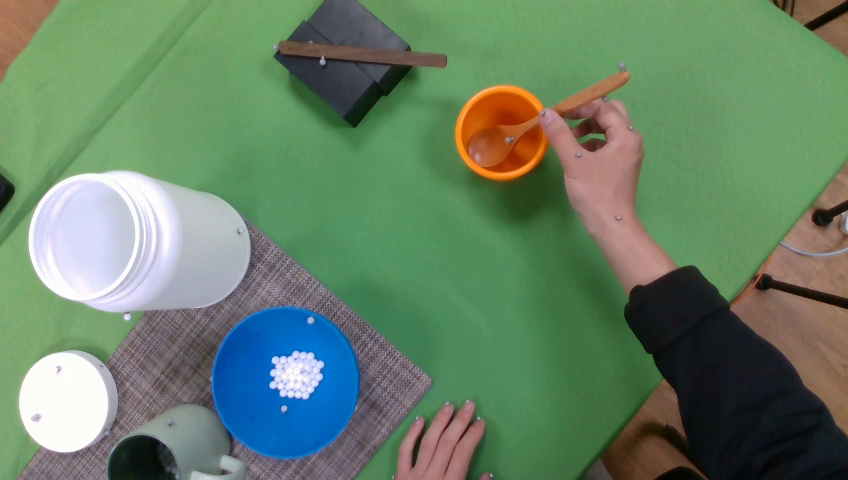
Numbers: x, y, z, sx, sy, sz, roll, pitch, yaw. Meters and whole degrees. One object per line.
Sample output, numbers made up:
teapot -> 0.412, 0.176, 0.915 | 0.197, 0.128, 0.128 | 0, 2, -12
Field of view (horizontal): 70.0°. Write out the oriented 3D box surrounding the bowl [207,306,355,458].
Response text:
bowl -> -0.138, 0.141, 0.633 | 0.151, 0.077, 0.151 | 0, 89, 7

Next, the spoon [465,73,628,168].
spoon -> 0.109, -0.112, 0.578 | 0.022, 0.193, 0.041 | -6, 81, -37

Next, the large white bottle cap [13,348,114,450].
large white bottle cap -> -0.414, 0.182, 0.694 | 0.114, 0.018, 0.114 | 0, 88, 7

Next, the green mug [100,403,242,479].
green mug -> -0.252, 0.229, 0.631 | 0.125, 0.105, 0.092 | 14, 89, 7

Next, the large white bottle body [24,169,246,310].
large white bottle body -> -0.274, 0.003, 0.597 | 0.130, 0.185, 0.130 | -1, 86, 10

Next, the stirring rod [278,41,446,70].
stirring rod -> -0.065, -0.188, 0.616 | 0.176, 0.006, 0.014 | 7, 124, 7
